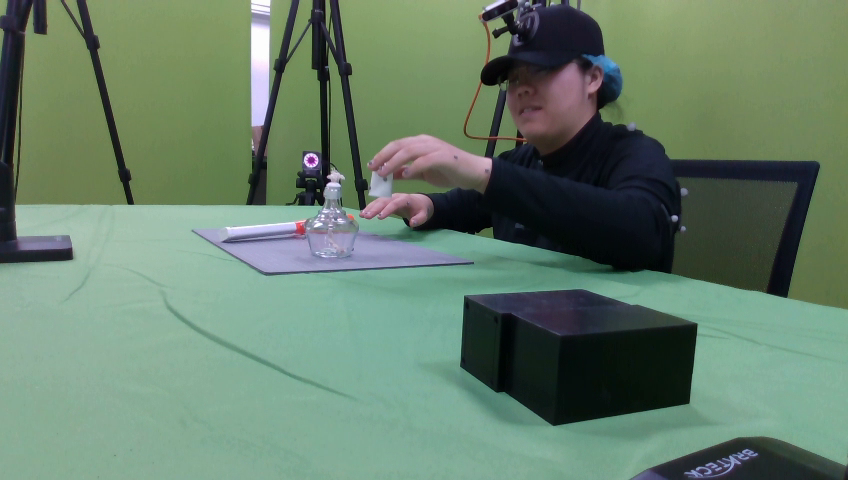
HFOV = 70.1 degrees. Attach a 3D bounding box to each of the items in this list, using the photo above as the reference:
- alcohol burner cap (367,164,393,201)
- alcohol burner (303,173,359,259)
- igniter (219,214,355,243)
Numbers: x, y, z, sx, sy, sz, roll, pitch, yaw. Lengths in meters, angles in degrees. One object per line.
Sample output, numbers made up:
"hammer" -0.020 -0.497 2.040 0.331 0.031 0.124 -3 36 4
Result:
"alcohol burner cap" -0.056 -0.076 0.792 0.034 0.048 0.034 6 0 0
"alcohol burner" -0.130 -0.034 0.850 0.078 0.119 0.078 2 5 0
"igniter" -0.219 -0.021 1.033 0.057 0.025 0.278 -20 -7 39
